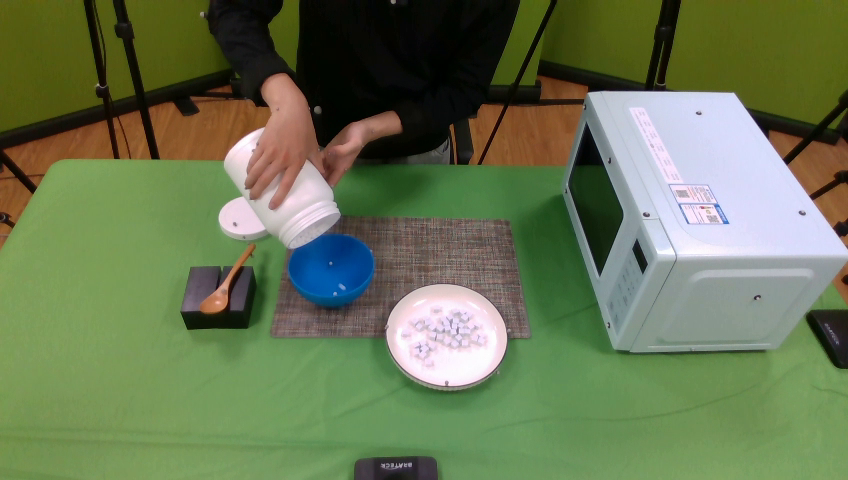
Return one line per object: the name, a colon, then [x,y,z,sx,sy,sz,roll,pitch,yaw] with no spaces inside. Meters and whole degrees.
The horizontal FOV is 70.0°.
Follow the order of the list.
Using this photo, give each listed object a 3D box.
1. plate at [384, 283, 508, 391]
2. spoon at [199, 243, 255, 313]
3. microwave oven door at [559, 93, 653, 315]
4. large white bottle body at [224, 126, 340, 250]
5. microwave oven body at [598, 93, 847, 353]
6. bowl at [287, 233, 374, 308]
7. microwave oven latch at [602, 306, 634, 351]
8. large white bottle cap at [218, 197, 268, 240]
plate: [0.036,0.165,1.028,0.209,0.038,0.208,2,49,-2]
spoon: [-0.334,0.062,1.052,0.041,0.022,0.193,9,40,7]
microwave oven door: [0.327,-0.074,1.123,0.039,0.245,0.353,-1,46,-5]
large white bottle body: [-0.240,-0.087,1.043,0.130,0.131,0.184,-32,82,-30]
microwave oven body: [0.475,-0.041,1.109,0.326,0.261,0.438,-1,45,-4]
bowl: [-0.164,0.068,1.078,0.151,0.077,0.150,3,46,-2]
microwave oven latch: [0.332,0.153,1.044,0.030,0.029,0.078,0,45,-4]
large white bottle cap: [-0.355,-0.045,1.220,0.115,0.018,0.114,2,45,-2]
